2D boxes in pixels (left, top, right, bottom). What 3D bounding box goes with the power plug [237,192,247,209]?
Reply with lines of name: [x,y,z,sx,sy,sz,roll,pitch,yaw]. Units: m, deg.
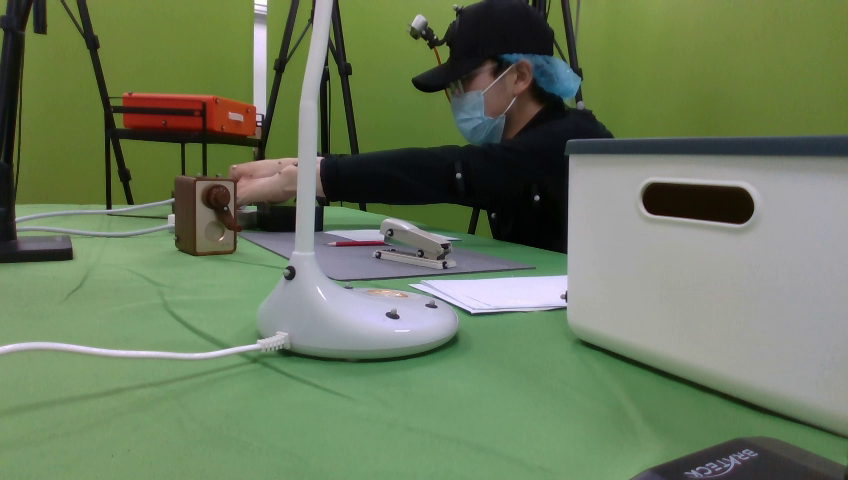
power plug: [-0.386,-0.073,1.206,0.072,0.052,0.035,11,13,25]

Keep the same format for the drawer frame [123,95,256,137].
drawer frame: [-0.524,-0.281,1.376,0.213,0.082,0.202,3,8,8]

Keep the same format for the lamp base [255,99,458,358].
lamp base: [-0.056,-0.013,0.462,0.160,0.180,0.180,6,11,27]

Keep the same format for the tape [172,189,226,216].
tape: [-0.515,-0.087,1.388,0.117,0.052,0.117,3,7,0]

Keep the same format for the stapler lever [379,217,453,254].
stapler lever: [-0.013,-0.007,0.828,0.117,0.040,0.027,9,11,39]

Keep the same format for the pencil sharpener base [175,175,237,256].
pencil sharpener base: [-0.304,-0.036,0.847,0.062,0.107,0.076,-4,10,-42]

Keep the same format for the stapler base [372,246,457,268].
stapler base: [-0.016,0.017,0.831,0.130,0.024,0.041,10,12,39]

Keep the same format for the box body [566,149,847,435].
box body: [0.318,0.009,0.471,0.366,0.160,0.253,-2,8,-31]

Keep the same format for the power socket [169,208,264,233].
power socket: [-0.381,-0.038,1.129,0.072,0.032,0.227,4,8,16]

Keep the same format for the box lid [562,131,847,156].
box lid: [0.322,-0.064,0.463,0.373,0.015,0.262,-2,9,-31]

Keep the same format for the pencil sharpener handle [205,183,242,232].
pencil sharpener handle: [-0.265,-0.043,0.813,0.036,0.068,0.030,-32,28,-35]

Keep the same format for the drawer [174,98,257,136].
drawer: [-0.518,-0.279,1.376,0.211,0.073,0.195,3,8,9]

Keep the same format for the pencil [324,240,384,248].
pencil: [-0.067,0.004,0.981,0.195,0.012,0.012,-4,9,-23]
